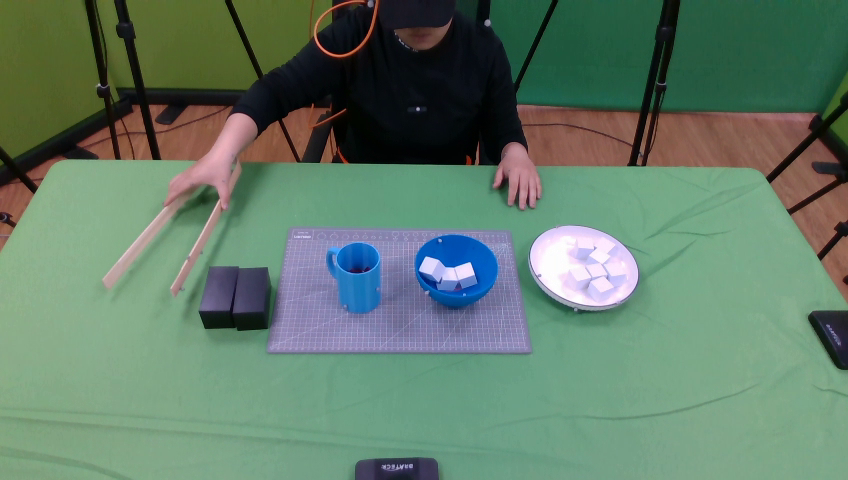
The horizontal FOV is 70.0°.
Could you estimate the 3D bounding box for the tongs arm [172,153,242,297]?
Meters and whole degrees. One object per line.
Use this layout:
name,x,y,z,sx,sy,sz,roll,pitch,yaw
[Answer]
tongs arm,-0.424,-0.043,1.178,0.051,0.027,0.382,3,45,9

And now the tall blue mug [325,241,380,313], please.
tall blue mug,-0.130,0.063,1.062,0.107,0.108,0.077,9,47,5

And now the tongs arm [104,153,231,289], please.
tongs arm,-0.494,-0.050,1.189,0.028,0.028,0.386,7,45,18

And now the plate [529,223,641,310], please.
plate,0.303,0.053,1.156,0.209,0.038,0.208,2,46,-1

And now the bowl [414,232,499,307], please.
bowl,0.056,0.067,1.093,0.151,0.077,0.150,2,46,-2
